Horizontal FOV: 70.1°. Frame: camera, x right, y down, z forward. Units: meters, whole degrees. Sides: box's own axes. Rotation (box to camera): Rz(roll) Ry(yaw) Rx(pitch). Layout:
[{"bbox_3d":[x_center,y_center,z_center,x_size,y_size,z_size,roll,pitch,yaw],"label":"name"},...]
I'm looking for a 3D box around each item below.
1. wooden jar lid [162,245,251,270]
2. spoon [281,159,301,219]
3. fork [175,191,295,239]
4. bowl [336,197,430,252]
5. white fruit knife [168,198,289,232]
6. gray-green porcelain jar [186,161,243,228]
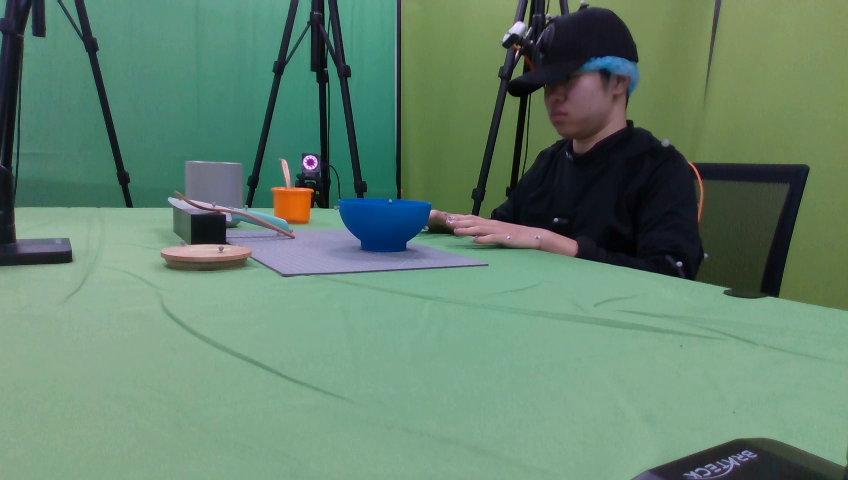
[{"bbox_3d":[-0.278,0.022,0.777,0.108,0.020,0.108,2,6,0],"label":"wooden jar lid"},{"bbox_3d":[-0.307,-0.117,1.368,0.042,0.193,0.021,1,-37,-22],"label":"spoon"},{"bbox_3d":[-0.305,-0.039,0.993,0.208,0.018,0.028,19,-9,-34],"label":"fork"},{"bbox_3d":[-0.066,-0.024,0.967,0.151,0.077,0.151,3,7,0],"label":"bowl"},{"bbox_3d":[-0.329,-0.044,1.036,0.208,0.027,0.016,14,-1,-32],"label":"white fruit knife"},{"bbox_3d":[-0.412,-0.090,1.193,0.106,0.126,0.106,2,7,0],"label":"gray-green porcelain jar"}]
